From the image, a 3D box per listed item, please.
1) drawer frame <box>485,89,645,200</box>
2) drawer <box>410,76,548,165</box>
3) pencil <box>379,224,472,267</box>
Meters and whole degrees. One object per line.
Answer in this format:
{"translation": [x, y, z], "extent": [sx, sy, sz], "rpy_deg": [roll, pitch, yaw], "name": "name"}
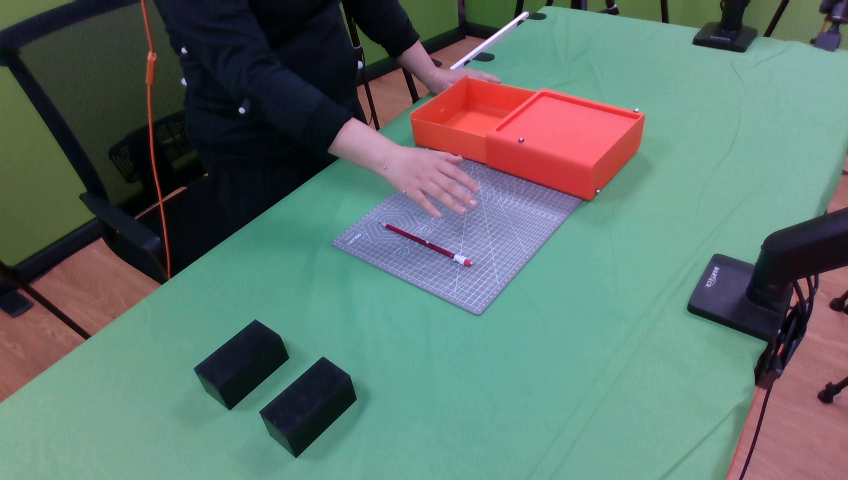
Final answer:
{"translation": [0.253, -0.180, 1.094], "extent": [0.212, 0.083, 0.202], "rpy_deg": [24, 48, 31], "name": "drawer frame"}
{"translation": [0.113, -0.237, 1.190], "extent": [0.210, 0.073, 0.195], "rpy_deg": [22, 48, 33], "name": "drawer"}
{"translation": [-0.002, 0.005, 0.969], "extent": [0.192, 0.012, 0.012], "rpy_deg": [24, 49, 33], "name": "pencil"}
